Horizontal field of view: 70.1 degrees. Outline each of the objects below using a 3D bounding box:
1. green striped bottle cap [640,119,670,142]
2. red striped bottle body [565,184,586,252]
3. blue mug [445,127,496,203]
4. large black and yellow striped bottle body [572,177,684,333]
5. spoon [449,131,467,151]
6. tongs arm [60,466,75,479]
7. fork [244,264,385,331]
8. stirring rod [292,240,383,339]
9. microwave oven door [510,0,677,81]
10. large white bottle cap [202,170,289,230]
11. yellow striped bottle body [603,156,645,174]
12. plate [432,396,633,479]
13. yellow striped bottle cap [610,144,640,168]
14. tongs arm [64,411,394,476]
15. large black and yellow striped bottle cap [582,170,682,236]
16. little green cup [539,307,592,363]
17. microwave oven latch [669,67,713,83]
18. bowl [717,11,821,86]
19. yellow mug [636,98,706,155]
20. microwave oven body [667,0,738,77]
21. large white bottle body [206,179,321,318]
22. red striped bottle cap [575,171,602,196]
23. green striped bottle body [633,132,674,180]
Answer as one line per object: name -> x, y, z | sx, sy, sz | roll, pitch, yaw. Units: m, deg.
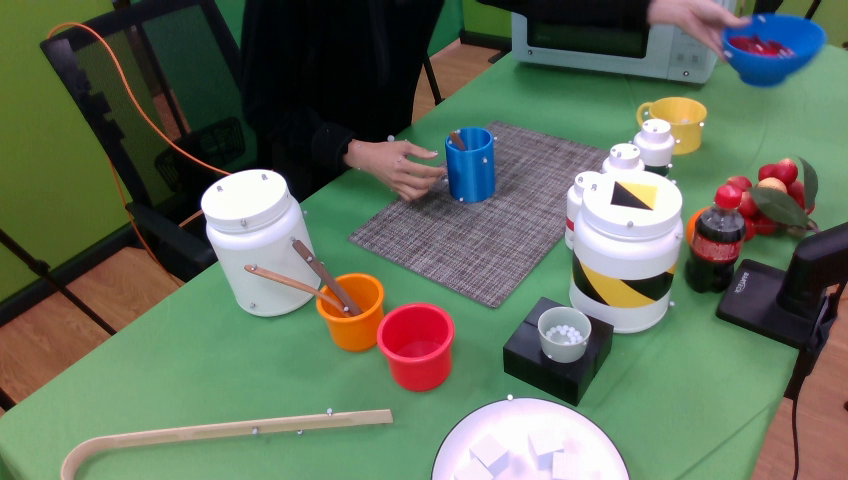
green striped bottle cap -> 0.370, -0.175, 0.968 | 0.044, 0.020, 0.044 | -4, 41, 4
red striped bottle body -> 0.247, -0.041, 0.910 | 0.063, 0.120, 0.062 | -3, 39, 3
blue mug -> 0.082, -0.140, 1.059 | 0.082, 0.106, 0.116 | -3, 40, 5
large black and yellow striped bottle body -> 0.262, 0.017, 0.788 | 0.131, 0.185, 0.130 | -5, 40, 4
spoon -> 0.066, -0.145, 1.000 | 0.041, 0.195, 0.021 | 0, 76, 16
tongs arm -> -0.239, 0.300, 0.649 | 0.386, 0.028, 0.028 | 6, 49, 17
fork -> -0.142, 0.078, 0.806 | 0.209, 0.018, 0.028 | 30, 33, -24
stirring rod -> -0.118, 0.068, 0.826 | 0.176, 0.006, 0.014 | 49, 59, -4
microwave oven door -> 0.353, -0.478, 1.290 | 0.353, 0.245, 0.039 | 15, 45, 25
large white bottle cap -> -0.242, -0.057, 0.822 | 0.115, 0.018, 0.114 | -4, 41, 4
yellow striped bottle body -> 0.313, -0.089, 0.955 | 0.063, 0.121, 0.062 | -4, 40, 4
plate -> 0.112, 0.261, 0.634 | 0.209, 0.038, 0.208 | -5, 40, 4
yellow striped bottle cap -> 0.307, -0.128, 0.923 | 0.044, 0.019, 0.044 | -5, 39, 5
tongs arm -> -0.228, 0.240, 0.715 | 0.385, 0.026, 0.050 | -4, 43, 5
large black and yellow striped bottle cap -> 0.252, -0.048, 0.735 | 0.115, 0.019, 0.114 | -3, 40, 3
little green cup -> 0.169, 0.115, 0.721 | 0.061, 0.039, 0.061 | -4, 42, 4
microwave oven latch -> 0.556, -0.349, 1.261 | 0.078, 0.029, 0.030 | 16, 46, 27
bowl -> 0.563, -0.310, 1.003 | 0.151, 0.077, 0.150 | -7, 43, 7
yellow mug -> 0.453, -0.217, 1.128 | 0.100, 0.064, 0.129 | -33, 45, -27
microwave oven body -> 0.462, -0.552, 1.369 | 0.439, 0.261, 0.326 | 15, 45, 26
large white bottle body -> -0.233, 0.007, 0.876 | 0.130, 0.185, 0.130 | -5, 40, 4
red striped bottle cap -> 0.242, -0.082, 0.876 | 0.044, 0.018, 0.044 | -5, 44, 5
green striped bottle body -> 0.376, -0.135, 1.001 | 0.063, 0.120, 0.063 | -5, 40, 4
